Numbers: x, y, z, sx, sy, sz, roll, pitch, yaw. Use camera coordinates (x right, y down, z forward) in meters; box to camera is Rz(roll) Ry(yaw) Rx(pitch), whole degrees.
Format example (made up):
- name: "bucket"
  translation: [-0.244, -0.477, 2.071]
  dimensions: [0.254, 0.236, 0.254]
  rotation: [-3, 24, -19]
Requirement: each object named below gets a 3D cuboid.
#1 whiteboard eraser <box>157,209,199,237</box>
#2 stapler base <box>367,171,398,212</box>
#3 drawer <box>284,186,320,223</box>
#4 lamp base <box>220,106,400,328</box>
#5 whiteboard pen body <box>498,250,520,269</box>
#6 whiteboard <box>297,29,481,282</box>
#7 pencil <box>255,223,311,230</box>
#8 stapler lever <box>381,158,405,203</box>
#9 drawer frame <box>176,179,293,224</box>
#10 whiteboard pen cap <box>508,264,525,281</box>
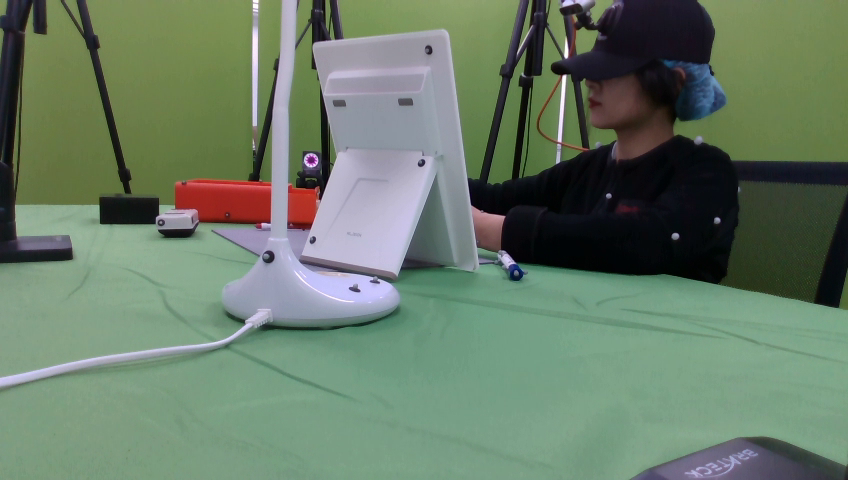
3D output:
- name: "whiteboard eraser"
  translation: [-0.411, -0.029, 1.016]
  dimensions: [0.056, 0.042, 0.112]
  rotation: [2, 7, -16]
- name: "stapler base"
  translation: [-0.073, -0.098, 1.166]
  dimensions: [0.041, 0.024, 0.131]
  rotation: [44, -9, 25]
- name: "drawer"
  translation: [-0.333, -0.083, 1.310]
  dimensions: [0.212, 0.073, 0.194]
  rotation: [1, 8, -8]
- name: "lamp base"
  translation: [-0.101, -0.023, 0.531]
  dimensions: [0.160, 0.180, 0.179]
  rotation: [4, 10, 10]
- name: "whiteboard pen body"
  translation: [0.116, 0.032, 0.810]
  dimensions: [0.017, 0.017, 0.140]
  rotation: [2, 8, -1]
- name: "whiteboard"
  translation: [-0.075, -0.082, 0.741]
  dimensions: [0.216, 0.305, 0.144]
  rotation: [9, 29, 37]
- name: "pencil"
  translation: [-0.216, -0.022, 1.134]
  dimensions: [0.195, 0.012, 0.012]
  rotation: [2, 7, -22]
- name: "stapler lever"
  translation: [-0.055, -0.116, 1.172]
  dimensions: [0.026, 0.040, 0.118]
  rotation: [44, -10, 25]
- name: "drawer frame"
  translation: [-0.395, -0.086, 1.299]
  dimensions: [0.214, 0.082, 0.201]
  rotation: [1, 8, -9]
- name: "whiteboard pen cap"
  translation: [0.115, 0.039, 0.752]
  dimensions: [0.018, 0.018, 0.033]
  rotation: [2, 9, 0]
